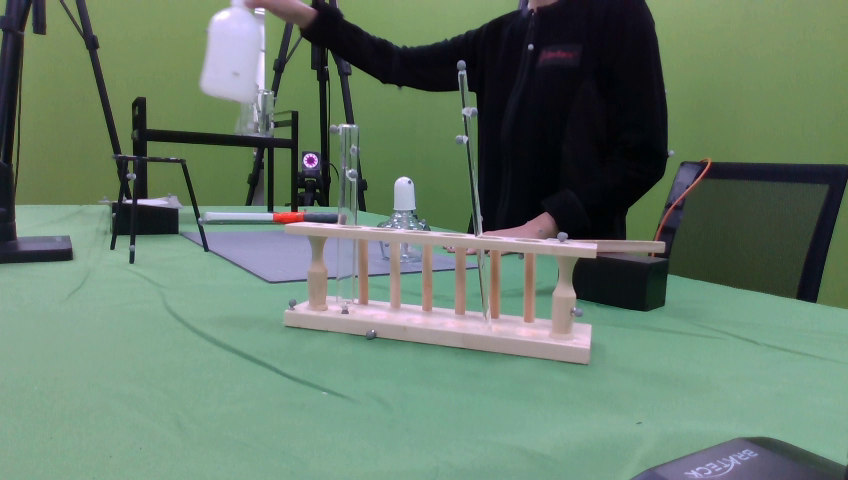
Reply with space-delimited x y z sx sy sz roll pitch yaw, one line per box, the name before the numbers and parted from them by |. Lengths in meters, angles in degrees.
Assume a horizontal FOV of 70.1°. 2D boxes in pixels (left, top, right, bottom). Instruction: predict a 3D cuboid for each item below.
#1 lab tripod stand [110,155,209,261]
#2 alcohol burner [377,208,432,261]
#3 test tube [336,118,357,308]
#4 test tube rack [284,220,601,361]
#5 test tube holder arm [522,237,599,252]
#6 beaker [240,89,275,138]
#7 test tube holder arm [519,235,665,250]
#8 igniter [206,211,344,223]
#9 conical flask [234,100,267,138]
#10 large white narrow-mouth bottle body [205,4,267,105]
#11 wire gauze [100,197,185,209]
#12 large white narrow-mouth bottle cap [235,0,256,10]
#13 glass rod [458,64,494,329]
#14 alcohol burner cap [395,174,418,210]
lab tripod stand | -0.361 -0.046 0.806 0.148 0.131 0.148 2 5 0
alcohol burner | -0.027 -0.031 0.838 0.078 0.119 0.078 0 6 0
test tube | -0.061 -0.019 0.476 0.017 0.150 0.017 2 11 0
test tube rack | 0.013 0.032 0.482 0.242 0.085 0.067 4 7 16
test tube holder arm | 0.144 0.005 0.636 0.088 0.015 0.010 -1 16 -19
beaker | -0.361 -0.273 1.308 0.074 0.100 0.084 0 7 -11
test tube holder arm | 0.186 0.003 0.656 0.179 0.015 0.013 -1 16 -19
igniter | -0.302 -0.048 1.249 0.278 0.025 0.057 -2 -2 -27
conical flask | -0.400 -0.298 1.396 0.075 0.122 0.075 2 8 0
large white narrow-mouth bottle body | -0.345 -0.357 1.125 0.102 0.194 0.102 10 6 -1
wire gauze | -0.469 -0.062 1.008 0.126 0.011 0.121 -2 8 -25
large white narrow-mouth bottle cap | -0.330 -0.441 1.117 0.038 0.024 0.037 10 6 -1
glass rod | 0.039 -0.029 0.449 0.008 0.199 0.008 -7 9 1
alcohol burner cap | -0.026 -0.067 0.833 0.034 0.048 0.034 -1 12 1
